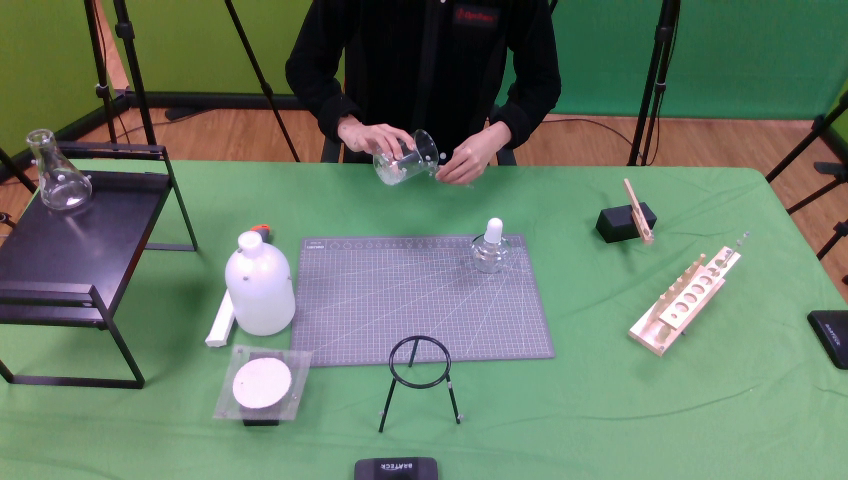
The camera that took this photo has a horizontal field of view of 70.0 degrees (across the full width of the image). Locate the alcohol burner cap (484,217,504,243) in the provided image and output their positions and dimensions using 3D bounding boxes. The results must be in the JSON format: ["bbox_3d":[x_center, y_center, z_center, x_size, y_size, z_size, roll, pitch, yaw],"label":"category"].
[{"bbox_3d":[0.129,-0.021,1.107,0.034,0.048,0.033,4,41,-3],"label":"alcohol burner cap"}]

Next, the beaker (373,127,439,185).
[{"bbox_3d":[-0.035,-0.146,1.090,0.100,0.084,0.073,-29,54,-23],"label":"beaker"}]

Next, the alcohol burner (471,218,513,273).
[{"bbox_3d":[0.128,0.005,1.132,0.078,0.120,0.077,0,47,0],"label":"alcohol burner"}]

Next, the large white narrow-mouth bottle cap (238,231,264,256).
[{"bbox_3d":[-0.266,0.006,0.932,0.038,0.024,0.037,2,46,-2],"label":"large white narrow-mouth bottle cap"}]

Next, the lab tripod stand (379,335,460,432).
[{"bbox_3d":[-0.011,0.214,0.911,0.148,0.132,0.147,1,45,0],"label":"lab tripod stand"}]

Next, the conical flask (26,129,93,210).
[{"bbox_3d":[-0.575,-0.113,0.946,0.075,0.122,0.075,2,46,-2],"label":"conical flask"}]

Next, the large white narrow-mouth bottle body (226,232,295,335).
[{"bbox_3d":[-0.270,0.065,0.995,0.102,0.195,0.101,2,46,-2],"label":"large white narrow-mouth bottle body"}]

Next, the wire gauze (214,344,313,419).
[{"bbox_3d":[-0.241,0.213,0.915,0.121,0.011,0.124,5,46,1],"label":"wire gauze"}]

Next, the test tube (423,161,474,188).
[{"bbox_3d":[0.051,-0.127,1.190,0.151,0.017,0.017,17,28,-48],"label":"test tube"}]

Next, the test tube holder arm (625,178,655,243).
[{"bbox_3d":[0.433,-0.063,1.220,0.013,0.015,0.177,1,47,-3],"label":"test tube holder arm"}]

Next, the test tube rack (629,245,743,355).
[{"bbox_3d":[0.474,0.095,1.091,0.242,0.085,0.066,-34,56,-31],"label":"test tube rack"}]

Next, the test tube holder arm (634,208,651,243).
[{"bbox_3d":[0.428,-0.030,1.189,0.010,0.015,0.087,1,47,-2],"label":"test tube holder arm"}]

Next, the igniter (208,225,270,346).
[{"bbox_3d":[-0.331,0.072,1.099,0.057,0.025,0.275,-4,45,10],"label":"igniter"}]

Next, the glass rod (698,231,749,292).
[{"bbox_3d":[0.515,0.044,1.051,0.008,0.200,0.008,1,55,-1],"label":"glass rod"}]
